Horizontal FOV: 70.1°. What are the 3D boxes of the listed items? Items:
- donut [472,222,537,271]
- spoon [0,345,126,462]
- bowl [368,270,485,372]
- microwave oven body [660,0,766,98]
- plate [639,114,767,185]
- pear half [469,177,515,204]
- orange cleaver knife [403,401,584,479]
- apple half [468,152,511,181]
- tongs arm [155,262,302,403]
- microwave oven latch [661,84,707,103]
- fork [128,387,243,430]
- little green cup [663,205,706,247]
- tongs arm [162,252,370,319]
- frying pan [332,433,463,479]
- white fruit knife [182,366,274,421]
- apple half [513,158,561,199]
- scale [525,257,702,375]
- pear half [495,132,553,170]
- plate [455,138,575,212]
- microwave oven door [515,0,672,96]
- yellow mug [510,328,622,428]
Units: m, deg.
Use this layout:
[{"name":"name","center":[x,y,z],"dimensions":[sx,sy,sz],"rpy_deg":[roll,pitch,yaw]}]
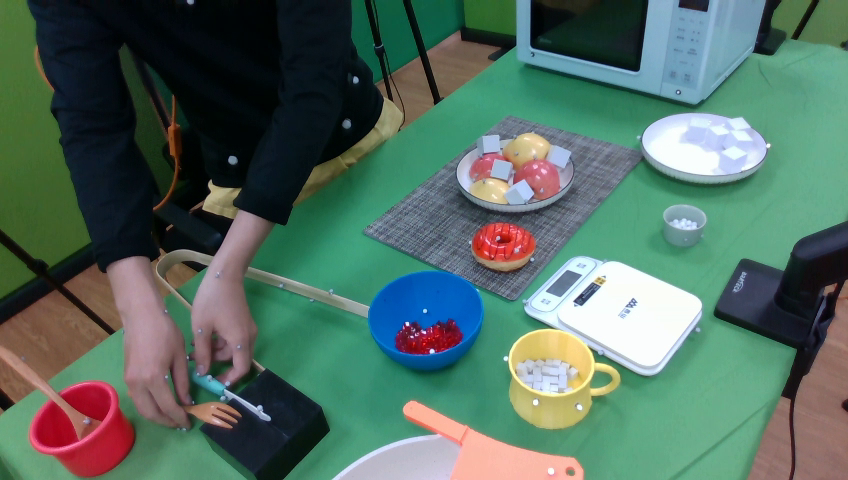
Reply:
[{"name":"donut","center":[0.123,0.009,0.923],"dimensions":[0.099,0.048,0.098],"rpy_deg":[-4,37,3]},{"name":"spoon","center":[-0.434,0.192,0.720],"dimensions":[0.194,0.021,0.042],"rpy_deg":[47,53,-6]},{"name":"bowl","center":[0.007,0.118,0.791],"dimensions":[0.151,0.077,0.150],"rpy_deg":[-5,40,4]},{"name":"microwave oven body","center":[0.472,-0.513,1.317],"dimensions":[0.438,0.261,0.327],"rpy_deg":[26,51,34]},{"name":"plate","center":[0.489,-0.157,1.074],"dimensions":[0.207,0.039,0.206],"rpy_deg":[-4,40,4]},{"name":"pear half","center":[0.115,-0.090,1.036],"dimensions":[0.087,0.031,0.071],"rpy_deg":[31,40,32]},{"name":"orange cleaver knife","center":[0.062,0.222,0.609],"dimensions":[0.210,0.012,0.077],"rpy_deg":[15,49,25]},{"name":"apple half","center":[0.119,-0.138,1.087],"dimensions":[0.081,0.033,0.081],"rpy_deg":[0,45,1]},{"name":"tongs arm","center":[-0.294,0.124,0.870],"dimensions":[0.384,0.028,0.028],"rpy_deg":[28,60,35]},{"name":"microwave oven latch","center":[0.517,-0.296,1.204],"dimensions":[0.078,0.029,0.030],"rpy_deg":[26,52,34]},{"name":"fork","center":[-0.302,0.204,0.748],"dimensions":[0.206,0.019,0.028],"rpy_deg":[1,48,33]},{"name":"little green cup","center":[0.396,-0.020,0.926],"dimensions":[0.061,0.039,0.061],"rpy_deg":[-4,40,4]},{"name":"tongs arm","center":[-0.247,0.073,0.916],"dimensions":[0.382,0.026,0.051],"rpy_deg":[16,50,26]},{"name":"frying pan","center":[-0.089,0.306,0.564],"dimensions":[0.487,0.103,0.306],"rpy_deg":[10,41,7]},{"name":"white fruit knife","center":[-0.245,0.188,0.747],"dimensions":[0.205,0.027,0.016],"rpy_deg":[9,41,41]},{"name":"apple half","center":[0.193,-0.111,1.031],"dimensions":[0.080,0.053,0.075],"rpy_deg":[11,41,26]},{"name":"scale","center":[0.254,0.091,0.821],"dimensions":[0.199,0.032,0.149],"rpy_deg":[28,51,35]},{"name":"pear half","center":[0.174,-0.167,1.094],"dimensions":[0.109,0.056,0.076],"rpy_deg":[15,53,30]},{"name":"plate","center":[0.159,-0.111,1.063],"dimensions":[0.209,0.038,0.208],"rpy_deg":[-4,40,4]},{"name":"microwave oven door","center":[0.343,-0.454,1.259],"dimensions":[0.353,0.245,0.039],"rpy_deg":[26,51,33]},{"name":"yellow mug","center":[0.168,0.164,0.722],"dimensions":[0.130,0.064,0.099],"rpy_deg":[0,40,8]}]
